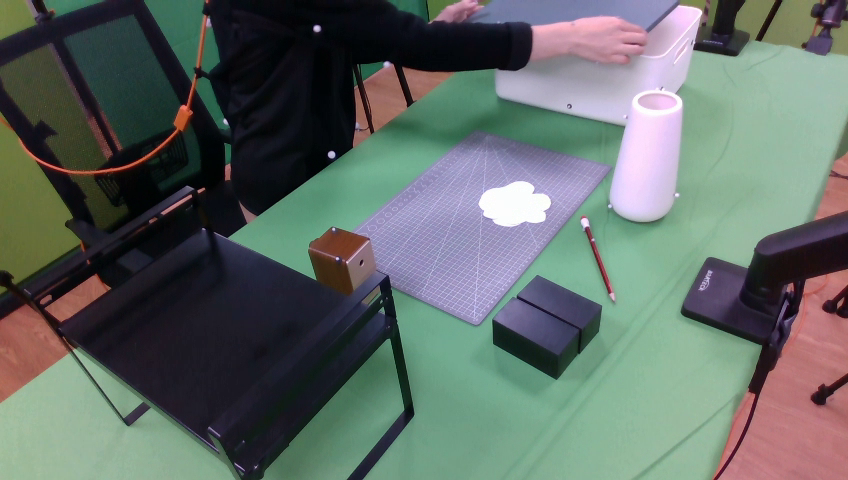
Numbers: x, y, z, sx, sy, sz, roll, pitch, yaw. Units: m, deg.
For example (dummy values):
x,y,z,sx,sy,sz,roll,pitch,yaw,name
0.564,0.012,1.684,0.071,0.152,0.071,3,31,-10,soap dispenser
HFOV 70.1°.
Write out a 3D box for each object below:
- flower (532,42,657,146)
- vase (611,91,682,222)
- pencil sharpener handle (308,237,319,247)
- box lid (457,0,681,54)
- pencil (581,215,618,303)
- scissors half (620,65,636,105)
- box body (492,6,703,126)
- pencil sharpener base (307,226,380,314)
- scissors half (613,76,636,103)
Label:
x,y,z,sx,sy,sz,roll,pitch,yaw,name
0.370,-0.320,1.323,0.038,0.044,0.359,-17,57,-48,flower
0.348,-0.125,0.935,0.098,0.201,0.097,-3,40,3,vase
-0.158,0.017,0.892,0.030,0.068,0.036,18,61,28,pencil sharpener handle
0.275,-0.432,1.169,0.368,0.015,0.264,20,49,35,box lid
0.266,0.025,0.916,0.012,0.012,0.193,-6,41,1,pencil
0.434,-0.340,1.298,0.013,0.040,0.175,31,37,-12,scissors half
0.352,-0.385,1.268,0.361,0.161,0.255,21,48,29,box body
-0.116,0.043,0.875,0.076,0.107,0.061,18,47,27,pencil sharpener base
0.425,-0.330,1.305,0.013,0.040,0.174,37,28,-14,scissors half
